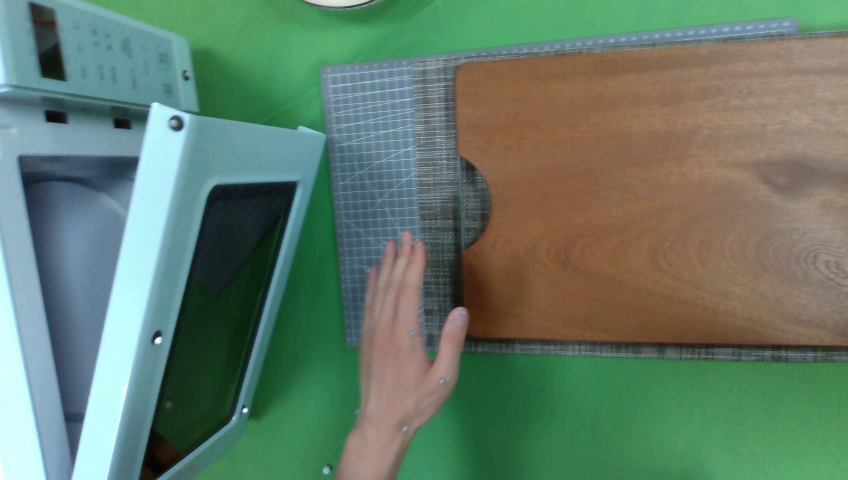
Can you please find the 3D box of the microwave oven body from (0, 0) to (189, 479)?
[{"bbox_3d":[-0.399,0.026,0.584,0.325,0.260,0.442,-4,97,12],"label":"microwave oven body"}]

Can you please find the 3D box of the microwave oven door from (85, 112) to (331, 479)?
[{"bbox_3d":[-0.186,0.067,0.541,0.039,0.244,0.356,19,101,10],"label":"microwave oven door"}]

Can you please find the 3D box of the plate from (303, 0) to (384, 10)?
[{"bbox_3d":[-0.073,-0.328,0.585,0.207,0.039,0.208,2,98,12],"label":"plate"}]

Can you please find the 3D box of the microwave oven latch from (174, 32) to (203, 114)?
[{"bbox_3d":[-0.251,-0.171,0.625,0.030,0.029,0.079,-4,98,12],"label":"microwave oven latch"}]
